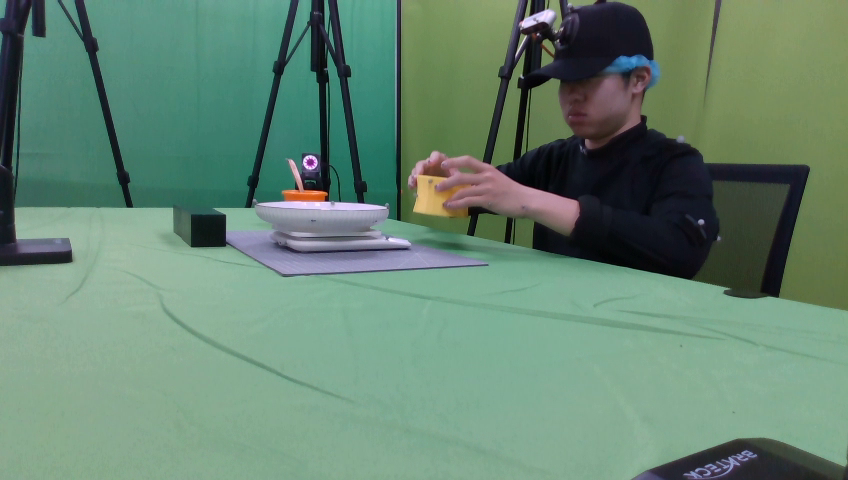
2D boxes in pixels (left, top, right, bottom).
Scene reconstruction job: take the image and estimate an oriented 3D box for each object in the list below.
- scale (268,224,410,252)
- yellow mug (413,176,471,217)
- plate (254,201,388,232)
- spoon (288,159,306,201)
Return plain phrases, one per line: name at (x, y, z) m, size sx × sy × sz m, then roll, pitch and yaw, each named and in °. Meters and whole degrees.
scale at (-0.137, -0.006, 0.980) m, size 0.202 × 0.031 × 0.148 m, roll -1°, pitch 8°, yaw -30°
yellow mug at (0.037, -0.080, 1.083) m, size 0.099 × 0.064 × 0.131 m, roll 6°, pitch 8°, yaw 20°
plate at (-0.161, -0.038, 0.961) m, size 0.209 × 0.038 × 0.209 m, roll 2°, pitch 6°, yaw 0°
spoon at (-0.260, -0.103, 1.268) m, size 0.042 × 0.193 × 0.021 m, roll 3°, pitch -39°, yaw -33°
